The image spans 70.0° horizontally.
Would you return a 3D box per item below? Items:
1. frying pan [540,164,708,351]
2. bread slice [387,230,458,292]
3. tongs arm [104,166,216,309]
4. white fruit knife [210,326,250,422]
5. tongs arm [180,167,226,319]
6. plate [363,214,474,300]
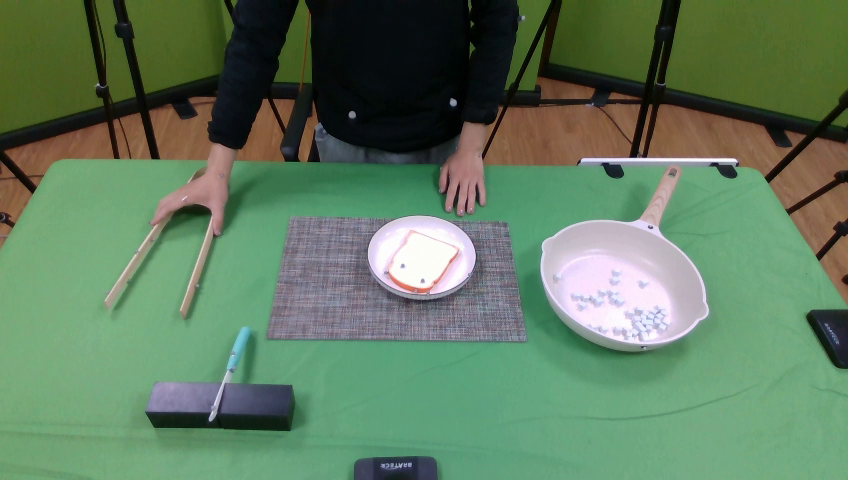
[{"bbox_3d":[0.407,0.012,1.160,0.306,0.103,0.486,26,58,18],"label":"frying pan"},{"bbox_3d":[-0.007,0.043,1.142,0.107,0.018,0.134,18,46,14],"label":"bread slice"},{"bbox_3d":[-0.495,-0.018,1.167,0.051,0.026,0.382,8,45,2],"label":"tongs arm"},{"bbox_3d":[-0.301,0.201,0.942,0.016,0.027,0.206,2,32,-2],"label":"white fruit knife"},{"bbox_3d":[-0.424,-0.009,1.169,0.028,0.028,0.385,-1,46,-2],"label":"tongs arm"},{"bbox_3d":[-0.010,0.036,1.146,0.208,0.039,0.206,2,46,-2],"label":"plate"}]
